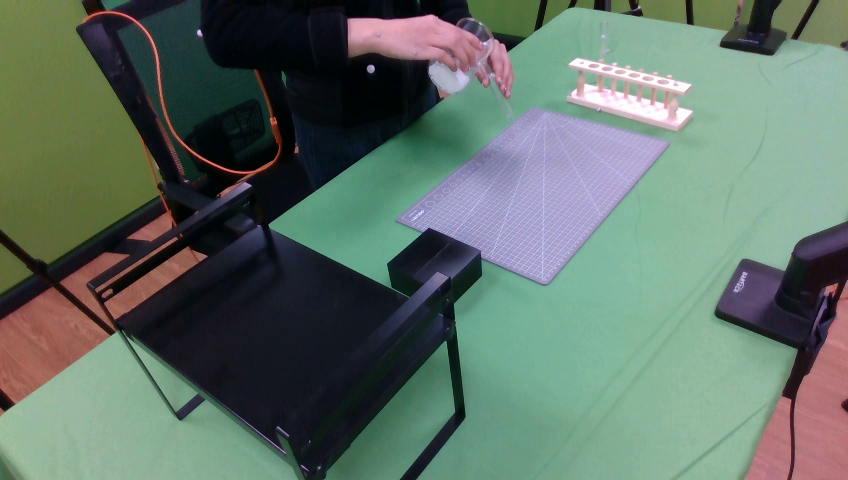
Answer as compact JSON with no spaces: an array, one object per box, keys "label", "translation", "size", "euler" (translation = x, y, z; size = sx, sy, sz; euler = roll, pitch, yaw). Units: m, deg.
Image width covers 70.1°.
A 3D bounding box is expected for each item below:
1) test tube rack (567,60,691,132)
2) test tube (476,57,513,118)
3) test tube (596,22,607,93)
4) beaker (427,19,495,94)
[{"label":"test tube rack","translation":[0.411,-0.300,1.217],"size":[0.240,0.085,0.067],"euler":[26,51,33]},{"label":"test tube","translation":[0.128,-0.267,1.073],"size":[0.017,0.151,0.017],"euler":[-16,53,23]},{"label":"test tube","translation":[0.363,-0.372,1.240],"size":[0.017,0.151,0.017],"euler":[-6,40,5]},{"label":"beaker","translation":[0.058,-0.290,0.970],"size":[0.073,0.084,0.100],"euler":[23,67,29]}]
